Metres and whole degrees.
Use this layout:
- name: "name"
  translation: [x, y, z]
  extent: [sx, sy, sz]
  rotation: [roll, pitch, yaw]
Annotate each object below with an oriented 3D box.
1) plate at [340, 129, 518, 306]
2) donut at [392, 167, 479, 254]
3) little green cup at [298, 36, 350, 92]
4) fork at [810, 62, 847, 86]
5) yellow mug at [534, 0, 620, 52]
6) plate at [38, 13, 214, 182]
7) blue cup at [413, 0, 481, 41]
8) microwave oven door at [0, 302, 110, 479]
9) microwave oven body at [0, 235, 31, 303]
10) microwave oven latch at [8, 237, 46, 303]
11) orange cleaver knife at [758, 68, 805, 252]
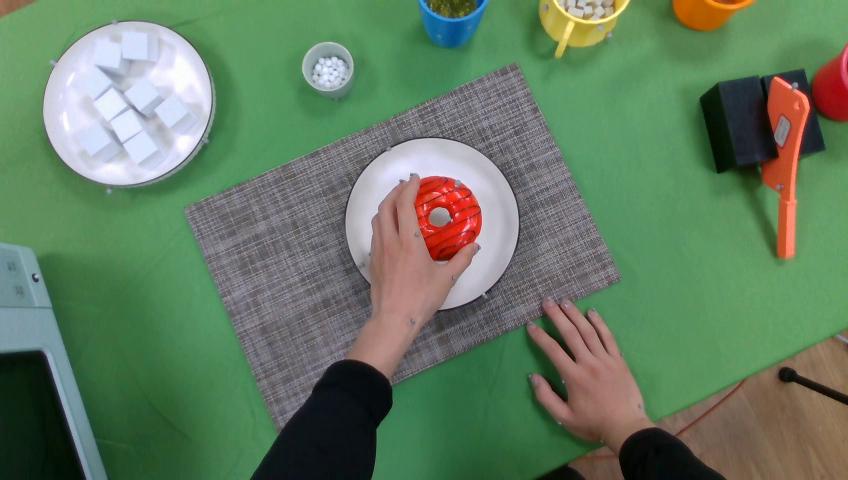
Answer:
- name: "plate"
  translation: [0.006, -0.026, 0.721]
  extent: [0.209, 0.038, 0.208]
  rotation: [0, 85, 0]
- name: "donut"
  translation: [0.013, -0.033, 0.678]
  extent: [0.099, 0.048, 0.099]
  rotation: [0, 89, 0]
- name: "little green cup"
  translation: [-0.120, -0.213, 0.743]
  extent: [0.061, 0.039, 0.061]
  rotation: [0, 84, 1]
- name: "fork"
  translation: [0.557, -0.201, 0.682]
  extent: [0.206, 0.019, 0.028]
  rotation: [0, 81, 42]
- name: "yellow mug"
  translation: [0.181, -0.289, 0.734]
  extent: [0.100, 0.064, 0.130]
  rotation: [23, 86, 3]
- name: "plate"
  translation: [-0.357, -0.171, 0.741]
  extent: [0.208, 0.039, 0.207]
  rotation: [0, 85, 1]
- name: "blue cup"
  translation: [0.026, -0.284, 0.717]
  extent: [0.092, 0.100, 0.092]
  rotation: [0, 85, -1]
- name: "microwave oven door"
  translation: [-0.393, 0.229, 0.583]
  extent: [0.039, 0.244, 0.355]
  rotation: [-22, 84, -2]
- name: "microwave oven body"
  translation: [-0.544, 0.244, 0.588]
  extent: [0.326, 0.260, 0.440]
  rotation: [-22, 85, -2]
- name: "microwave oven latch"
  translation: [-0.470, 0.036, 0.704]
  extent: [0.030, 0.029, 0.079]
  rotation: [-20, 85, -2]
- name: "orange cleaver knife"
  translation: [0.411, -0.090, 0.705]
  extent: [0.012, 0.076, 0.213]
  rotation: [-10, 114, 2]
